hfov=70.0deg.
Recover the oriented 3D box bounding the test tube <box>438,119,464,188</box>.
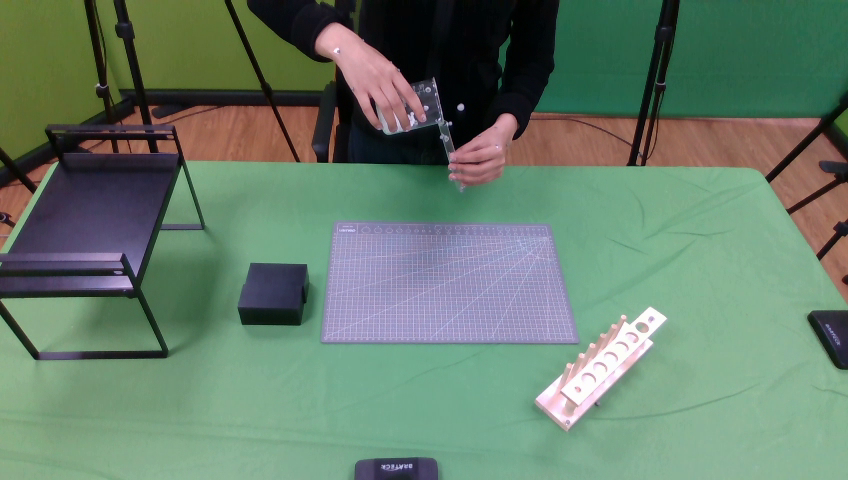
[{"bbox_3d":[0.048,-0.145,1.041,0.017,0.151,0.017,-10,46,10],"label":"test tube"}]

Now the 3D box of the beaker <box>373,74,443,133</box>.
[{"bbox_3d":[-0.024,-0.212,0.965,0.100,0.084,0.073,-11,42,4],"label":"beaker"}]

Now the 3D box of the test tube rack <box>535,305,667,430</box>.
[{"bbox_3d":[0.290,0.193,0.984,0.242,0.085,0.066,-32,56,-30],"label":"test tube rack"}]
